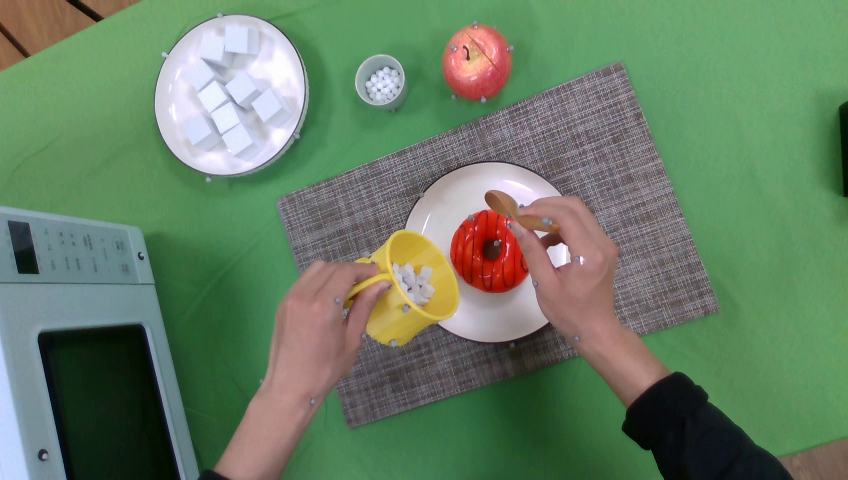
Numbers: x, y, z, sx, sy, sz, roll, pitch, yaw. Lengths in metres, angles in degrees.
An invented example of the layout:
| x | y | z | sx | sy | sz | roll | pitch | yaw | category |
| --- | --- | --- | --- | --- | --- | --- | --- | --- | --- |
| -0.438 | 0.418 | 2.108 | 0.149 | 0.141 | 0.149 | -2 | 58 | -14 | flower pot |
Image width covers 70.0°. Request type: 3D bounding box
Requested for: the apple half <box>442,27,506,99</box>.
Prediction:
| x | y | z | sx | sy | sz | roll | pitch | yaw | category |
| --- | --- | --- | --- | --- | --- | --- | --- | --- | --- |
| 0.051 | -0.195 | 0.699 | 0.053 | 0.075 | 0.080 | -41 | 83 | 11 | apple half |

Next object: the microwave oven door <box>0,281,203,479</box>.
| x | y | z | sx | sy | sz | roll | pitch | yaw | category |
| --- | --- | --- | --- | --- | --- | --- | --- | --- | --- |
| -0.336 | 0.218 | 0.650 | 0.039 | 0.244 | 0.354 | -17 | 83 | 10 | microwave oven door |

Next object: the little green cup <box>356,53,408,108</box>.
| x | y | z | sx | sy | sz | roll | pitch | yaw | category |
| --- | --- | --- | --- | --- | --- | --- | --- | --- | --- |
| -0.049 | -0.191 | 0.736 | 0.061 | 0.039 | 0.061 | -1 | 87 | 12 | little green cup |

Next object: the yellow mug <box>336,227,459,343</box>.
| x | y | z | sx | sy | sz | roll | pitch | yaw | category |
| --- | --- | --- | --- | --- | --- | --- | --- | --- | --- |
| -0.031 | 0.045 | 0.591 | 0.064 | 0.131 | 0.099 | -34 | 71 | 33 | yellow mug |

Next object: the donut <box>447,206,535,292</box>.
| x | y | z | sx | sy | sz | roll | pitch | yaw | category |
| --- | --- | --- | --- | --- | --- | --- | --- | --- | --- |
| 0.076 | 0.010 | 0.685 | 0.099 | 0.048 | 0.099 | 0 | 89 | 11 | donut |

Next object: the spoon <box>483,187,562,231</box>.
| x | y | z | sx | sy | sz | roll | pitch | yaw | category |
| --- | --- | --- | --- | --- | --- | --- | --- | --- | --- |
| 0.087 | -0.025 | 0.548 | 0.042 | 0.192 | 0.021 | 42 | 95 | -13 | spoon |

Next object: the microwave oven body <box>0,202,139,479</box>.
| x | y | z | sx | sy | sz | roll | pitch | yaw | category |
| --- | --- | --- | --- | --- | --- | --- | --- | --- | --- |
| -0.483 | 0.220 | 0.685 | 0.326 | 0.261 | 0.440 | -17 | 84 | 10 | microwave oven body |

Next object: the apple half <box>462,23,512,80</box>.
| x | y | z | sx | sy | sz | roll | pitch | yaw | category |
| --- | --- | --- | --- | --- | --- | --- | --- | --- | --- |
| 0.080 | -0.220 | 0.693 | 0.033 | 0.081 | 0.081 | -41 | 79 | 10 | apple half |

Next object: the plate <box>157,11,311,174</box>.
| x | y | z | sx | sy | sz | roll | pitch | yaw | category |
| --- | --- | --- | --- | --- | --- | --- | --- | --- | --- |
| -0.239 | -0.184 | 0.775 | 0.207 | 0.039 | 0.207 | -1 | 87 | 12 | plate |

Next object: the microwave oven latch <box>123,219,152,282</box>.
| x | y | z | sx | sy | sz | roll | pitch | yaw | category |
| --- | --- | --- | --- | --- | --- | --- | --- | --- | --- |
| -0.373 | 0.014 | 0.772 | 0.030 | 0.029 | 0.079 | -15 | 85 | 10 | microwave oven latch |

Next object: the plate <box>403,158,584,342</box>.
| x | y | z | sx | sy | sz | roll | pitch | yaw | category |
| --- | --- | --- | --- | --- | --- | --- | --- | --- | --- |
| 0.076 | 0.011 | 0.696 | 0.209 | 0.038 | 0.208 | -1 | 87 | 12 | plate |
